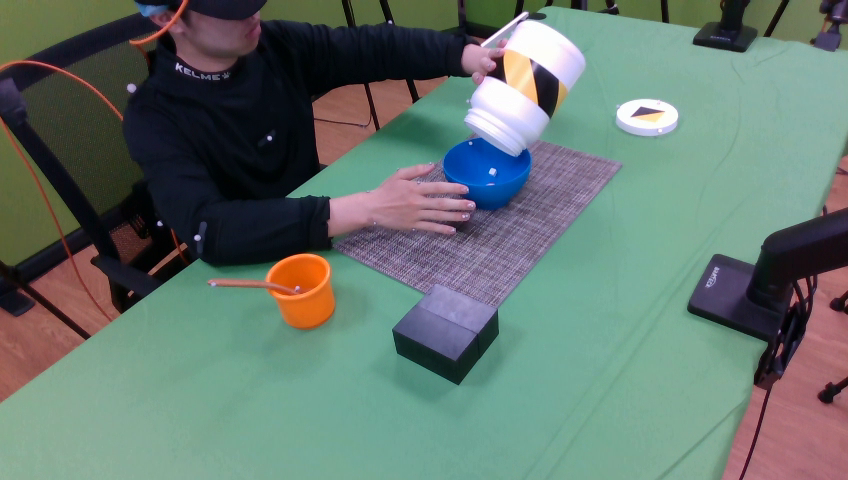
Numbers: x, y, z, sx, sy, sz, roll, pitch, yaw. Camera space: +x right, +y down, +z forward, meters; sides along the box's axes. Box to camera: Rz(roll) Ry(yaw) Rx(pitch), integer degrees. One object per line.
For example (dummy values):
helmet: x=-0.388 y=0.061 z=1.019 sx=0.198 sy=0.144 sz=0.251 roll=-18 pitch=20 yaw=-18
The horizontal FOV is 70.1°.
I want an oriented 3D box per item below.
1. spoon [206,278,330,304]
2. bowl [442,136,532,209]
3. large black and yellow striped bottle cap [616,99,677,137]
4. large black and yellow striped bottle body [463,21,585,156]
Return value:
spoon: x=-0.207 y=0.066 z=0.824 sx=0.041 sy=0.195 sz=0.021 roll=33 pitch=99 yaw=41
bowl: x=0.108 y=-0.106 z=1.026 sx=0.151 sy=0.077 sz=0.150 roll=-4 pitch=41 yaw=4
large black and yellow striped bottle cap: x=0.438 y=-0.242 z=1.190 sx=0.115 sy=0.019 sz=0.114 roll=-4 pitch=42 yaw=4
large black and yellow striped bottle body: x=0.158 y=-0.241 z=0.981 sx=0.129 sy=0.132 sz=0.184 roll=38 pitch=97 yaw=40
